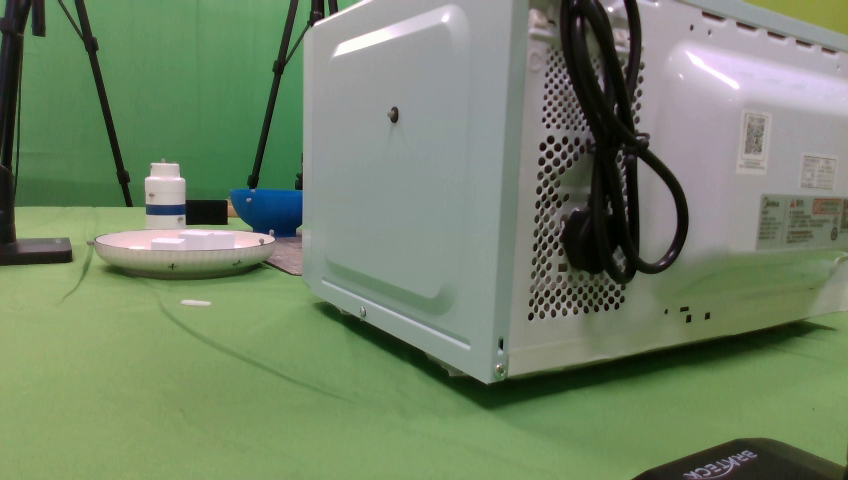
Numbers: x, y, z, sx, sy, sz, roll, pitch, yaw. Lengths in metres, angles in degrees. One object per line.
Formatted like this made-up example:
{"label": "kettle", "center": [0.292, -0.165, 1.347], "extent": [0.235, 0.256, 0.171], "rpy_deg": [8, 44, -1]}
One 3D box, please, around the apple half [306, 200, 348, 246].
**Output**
{"label": "apple half", "center": [-0.162, -0.029, 0.965], "extent": [0.082, 0.081, 0.032], "rpy_deg": [-5, 14, -45]}

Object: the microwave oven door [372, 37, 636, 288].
{"label": "microwave oven door", "center": [0.110, -0.080, 0.686], "extent": [0.358, 0.243, 0.039], "rpy_deg": [-2, 9, -33]}

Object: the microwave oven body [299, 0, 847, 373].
{"label": "microwave oven body", "center": [0.152, -0.055, 0.542], "extent": [0.444, 0.260, 0.324], "rpy_deg": [-2, 7, -33]}

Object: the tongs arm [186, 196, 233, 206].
{"label": "tongs arm", "center": [-0.404, -0.081, 1.479], "extent": [0.385, 0.026, 0.050], "rpy_deg": [3, 8, -2]}

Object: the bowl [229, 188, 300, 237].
{"label": "bowl", "center": [-0.265, -0.048, 1.066], "extent": [0.151, 0.077, 0.151], "rpy_deg": [3, 8, 0]}

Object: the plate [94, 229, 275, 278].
{"label": "plate", "center": [-0.291, 0.016, 0.750], "extent": [0.208, 0.039, 0.207], "rpy_deg": [2, 7, 0]}

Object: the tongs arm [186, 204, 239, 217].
{"label": "tongs arm", "center": [-0.396, -0.067, 1.399], "extent": [0.389, 0.028, 0.028], "rpy_deg": [1, 5, -15]}

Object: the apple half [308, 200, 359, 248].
{"label": "apple half", "center": [-0.133, -0.023, 0.938], "extent": [0.081, 0.074, 0.053], "rpy_deg": [0, 11, -45]}

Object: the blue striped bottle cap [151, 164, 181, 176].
{"label": "blue striped bottle cap", "center": [-0.428, -0.116, 1.002], "extent": [0.044, 0.020, 0.044], "rpy_deg": [1, 6, 0]}

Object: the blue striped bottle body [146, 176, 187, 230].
{"label": "blue striped bottle body", "center": [-0.430, -0.065, 1.009], "extent": [0.063, 0.120, 0.063], "rpy_deg": [2, 7, 0]}

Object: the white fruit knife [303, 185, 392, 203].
{"label": "white fruit knife", "center": [-0.120, -0.077, 0.987], "extent": [0.016, 0.027, 0.208], "rpy_deg": [3, 3, 35]}

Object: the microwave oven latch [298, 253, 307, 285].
{"label": "microwave oven latch", "center": [-0.081, 0.027, 0.582], "extent": [0.079, 0.029, 0.030], "rpy_deg": [-2, 7, -32]}
